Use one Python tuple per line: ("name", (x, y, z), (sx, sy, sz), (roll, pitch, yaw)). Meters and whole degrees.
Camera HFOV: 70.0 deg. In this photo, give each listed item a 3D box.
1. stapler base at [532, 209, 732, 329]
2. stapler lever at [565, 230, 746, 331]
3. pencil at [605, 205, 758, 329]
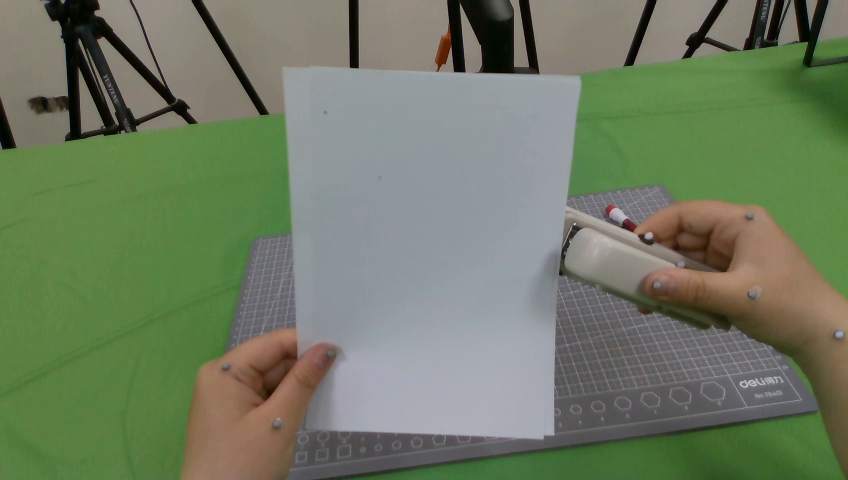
("stapler base", (0.132, 0.020, 0.372), (0.131, 0.041, 0.024), (20, 11, -11))
("stapler lever", (0.136, 0.025, 0.349), (0.118, 0.027, 0.040), (20, 10, -10))
("pencil", (0.229, 0.019, 0.556), (0.012, 0.012, 0.192), (-20, 41, -15))
